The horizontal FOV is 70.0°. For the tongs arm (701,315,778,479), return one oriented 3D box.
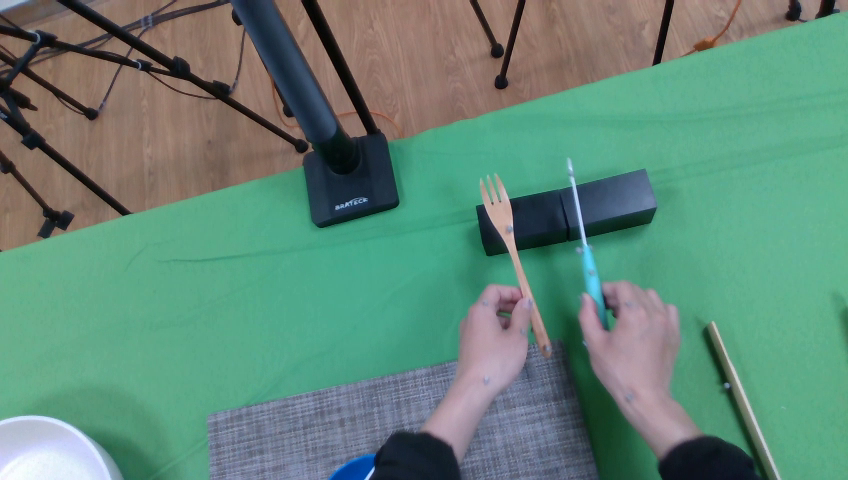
[{"bbox_3d":[0.367,0.256,0.606,0.028,0.028,0.384,-19,69,3],"label":"tongs arm"}]

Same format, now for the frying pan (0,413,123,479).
[{"bbox_3d":[-0.460,0.445,0.670,0.306,0.104,0.483,-16,61,7],"label":"frying pan"}]

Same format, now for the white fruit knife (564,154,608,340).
[{"bbox_3d":[0.171,0.010,0.652,0.016,0.027,0.207,-12,94,6],"label":"white fruit knife"}]

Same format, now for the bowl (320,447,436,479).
[{"bbox_3d":[-0.041,0.299,0.642,0.151,0.077,0.150,-4,70,10],"label":"bowl"}]

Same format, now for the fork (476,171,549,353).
[{"bbox_3d":[0.099,0.024,0.658,0.028,0.018,0.207,-19,87,10],"label":"fork"}]
